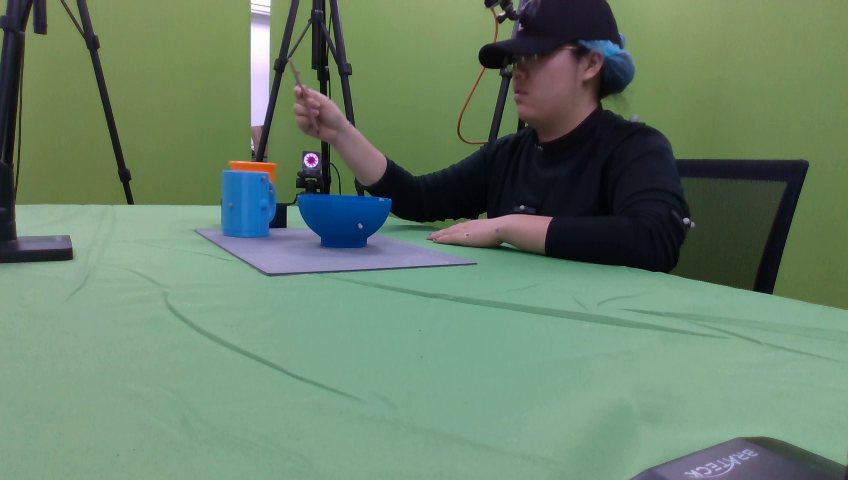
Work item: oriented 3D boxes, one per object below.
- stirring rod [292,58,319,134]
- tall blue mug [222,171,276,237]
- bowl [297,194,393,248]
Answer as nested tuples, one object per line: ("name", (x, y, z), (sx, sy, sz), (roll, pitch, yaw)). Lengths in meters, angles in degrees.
("stirring rod", (-0.213, -0.260, 1.083), (0.006, 0.175, 0.014), (-14, -26, -17))
("tall blue mug", (-0.303, -0.064, 1.043), (0.078, 0.108, 0.107), (1, 7, -4))
("bowl", (-0.127, -0.030, 0.963), (0.151, 0.077, 0.151), (2, 7, 0))
